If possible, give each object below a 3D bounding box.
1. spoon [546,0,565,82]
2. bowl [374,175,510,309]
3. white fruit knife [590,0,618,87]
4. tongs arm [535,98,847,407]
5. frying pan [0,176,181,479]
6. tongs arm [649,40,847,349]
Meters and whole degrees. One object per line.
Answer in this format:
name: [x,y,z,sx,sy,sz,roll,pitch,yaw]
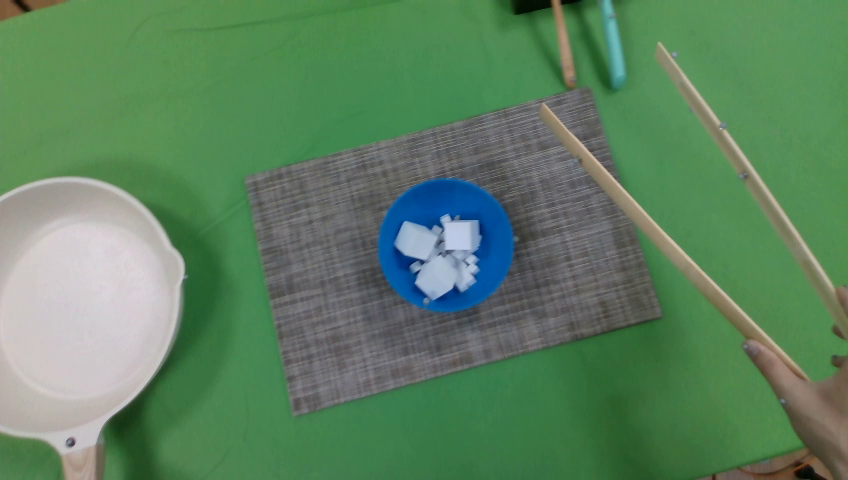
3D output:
spoon: [0.154,-0.292,0.743,0.041,0.021,0.194,-3,101,24]
bowl: [0.021,0.008,0.699,0.151,0.077,0.151,0,80,2]
white fruit knife: [0.211,-0.294,0.746,0.016,0.027,0.207,-14,95,-5]
tongs arm: [0.230,-0.001,0.563,0.028,0.028,0.384,-33,69,-13]
frying pan: [-0.393,0.168,0.678,0.307,0.103,0.484,-16,72,0]
tongs arm: [0.298,-0.036,0.571,0.051,0.027,0.381,-23,68,-6]
